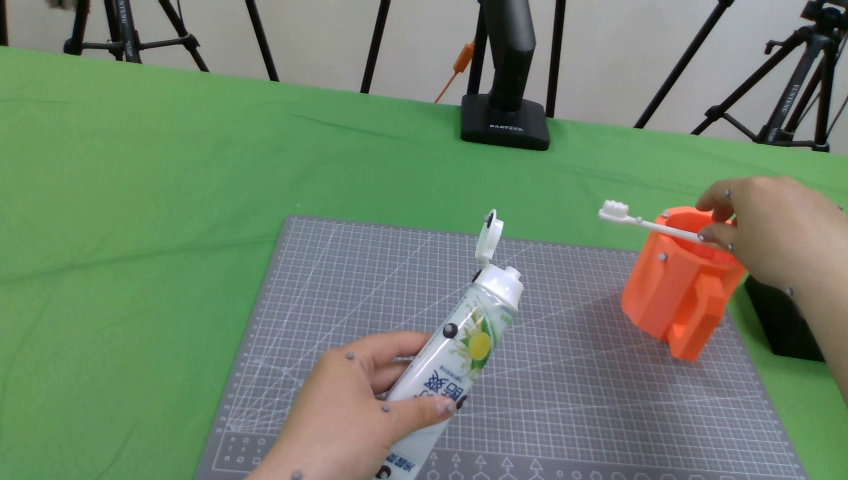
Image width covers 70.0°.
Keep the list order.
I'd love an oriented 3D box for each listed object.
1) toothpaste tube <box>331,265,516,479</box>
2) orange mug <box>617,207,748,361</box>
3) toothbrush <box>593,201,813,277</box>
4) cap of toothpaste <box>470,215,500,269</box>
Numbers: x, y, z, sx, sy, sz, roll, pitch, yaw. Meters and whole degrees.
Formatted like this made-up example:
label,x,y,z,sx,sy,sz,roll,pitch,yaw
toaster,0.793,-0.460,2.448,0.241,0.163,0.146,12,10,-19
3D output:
label,x,y,z,sx,sy,sz,roll,pitch,yaw
toothpaste tube,0.008,0.085,0.387,0.055,0.165,0.034,36,-6,-16
orange mug,0.232,0.043,0.545,0.083,0.101,0.125,11,35,3
toothbrush,0.235,-0.001,0.515,0.181,0.017,0.014,18,32,11
cap of toothpaste,0.041,0.001,0.398,0.011,0.037,0.037,19,40,5
